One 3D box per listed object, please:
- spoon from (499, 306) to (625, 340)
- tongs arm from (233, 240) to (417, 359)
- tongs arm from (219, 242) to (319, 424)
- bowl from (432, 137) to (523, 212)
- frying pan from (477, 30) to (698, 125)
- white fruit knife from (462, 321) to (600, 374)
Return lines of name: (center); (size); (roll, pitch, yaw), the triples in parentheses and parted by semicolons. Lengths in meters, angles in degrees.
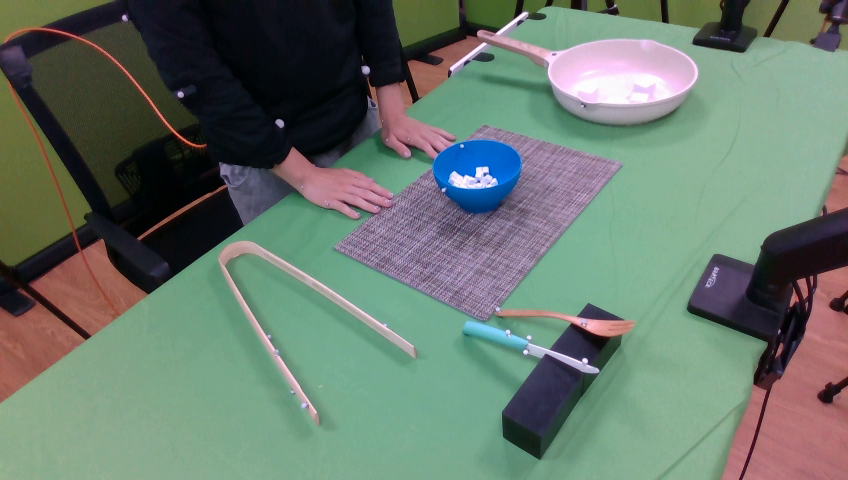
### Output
spoon: (0.169, 0.102, 0.773); (0.042, 0.021, 0.192); (-10, 13, -38)
tongs arm: (-0.157, 0.078, 0.895); (0.384, 0.028, 0.028); (26, 53, 33)
tongs arm: (-0.220, 0.114, 0.856); (0.051, 0.026, 0.381); (-28, 44, -24)
bowl: (0.091, -0.100, 1.022); (0.151, 0.077, 0.150); (-4, 41, 4)
frying pan: (0.321, -0.371, 1.290); (0.484, 0.103, 0.308); (29, 51, 24)
white fruit knife: (0.126, 0.132, 0.752); (0.205, 0.027, 0.016); (12, 48, 42)
